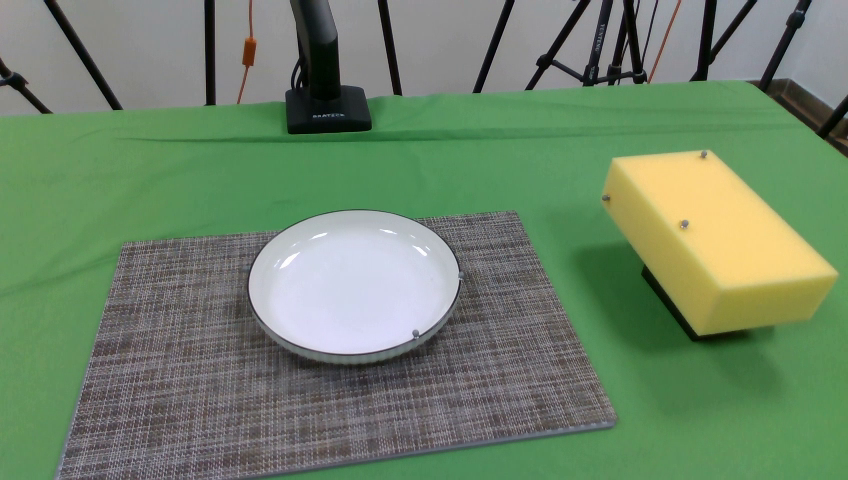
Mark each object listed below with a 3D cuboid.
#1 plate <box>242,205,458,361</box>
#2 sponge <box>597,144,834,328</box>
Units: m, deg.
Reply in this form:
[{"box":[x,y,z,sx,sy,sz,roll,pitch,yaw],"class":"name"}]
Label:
[{"box":[-0.071,0.042,0.603,0.208,0.039,0.205,2,41,-2],"class":"plate"},{"box":[0.275,-0.014,0.604,0.118,0.061,0.204,-7,42,-12],"class":"sponge"}]
